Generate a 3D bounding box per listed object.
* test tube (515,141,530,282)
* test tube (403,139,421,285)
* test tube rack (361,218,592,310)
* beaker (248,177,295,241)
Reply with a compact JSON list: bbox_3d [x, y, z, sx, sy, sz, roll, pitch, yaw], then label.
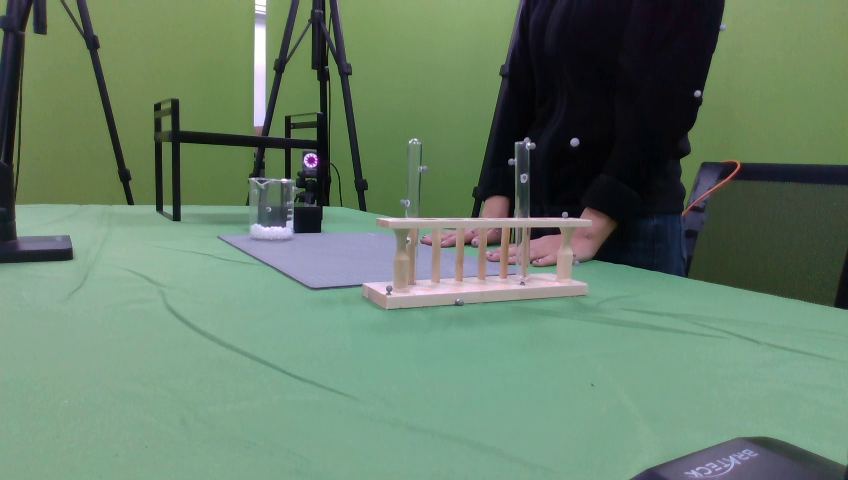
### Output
[{"bbox_3d":[0.104,-0.028,0.636,0.017,0.150,0.017,-2,12,1],"label":"test tube"},{"bbox_3d":[-0.013,-0.027,0.618,0.017,0.150,0.017,2,7,0],"label":"test tube"},{"bbox_3d":[0.060,0.018,0.641,0.243,0.085,0.066,-1,8,-27],"label":"test tube rack"},{"bbox_3d":[-0.252,-0.051,0.992,0.074,0.100,0.084,3,9,6],"label":"beaker"}]
